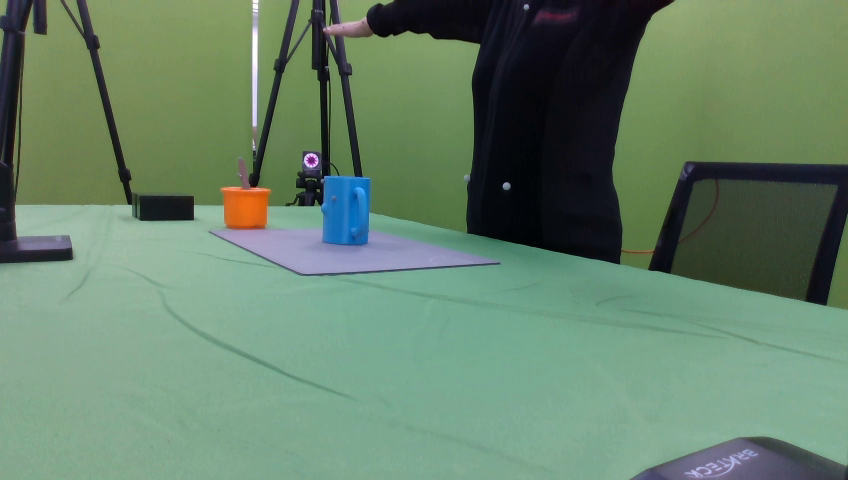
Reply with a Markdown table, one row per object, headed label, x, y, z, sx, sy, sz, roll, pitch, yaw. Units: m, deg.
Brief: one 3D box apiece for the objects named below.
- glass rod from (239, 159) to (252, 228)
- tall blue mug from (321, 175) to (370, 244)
| label | x | y | z | sx | sy | sz | roll | pitch | yaw |
| --- | --- | --- | --- | --- | --- | --- | --- | --- | --- |
| glass rod | -0.346 | -0.092 | 1.170 | 0.008 | 0.008 | 0.199 | -1 | 46 | -23 |
| tall blue mug | -0.116 | -0.049 | 0.991 | 0.106 | 0.108 | 0.078 | 7 | 8 | 33 |
